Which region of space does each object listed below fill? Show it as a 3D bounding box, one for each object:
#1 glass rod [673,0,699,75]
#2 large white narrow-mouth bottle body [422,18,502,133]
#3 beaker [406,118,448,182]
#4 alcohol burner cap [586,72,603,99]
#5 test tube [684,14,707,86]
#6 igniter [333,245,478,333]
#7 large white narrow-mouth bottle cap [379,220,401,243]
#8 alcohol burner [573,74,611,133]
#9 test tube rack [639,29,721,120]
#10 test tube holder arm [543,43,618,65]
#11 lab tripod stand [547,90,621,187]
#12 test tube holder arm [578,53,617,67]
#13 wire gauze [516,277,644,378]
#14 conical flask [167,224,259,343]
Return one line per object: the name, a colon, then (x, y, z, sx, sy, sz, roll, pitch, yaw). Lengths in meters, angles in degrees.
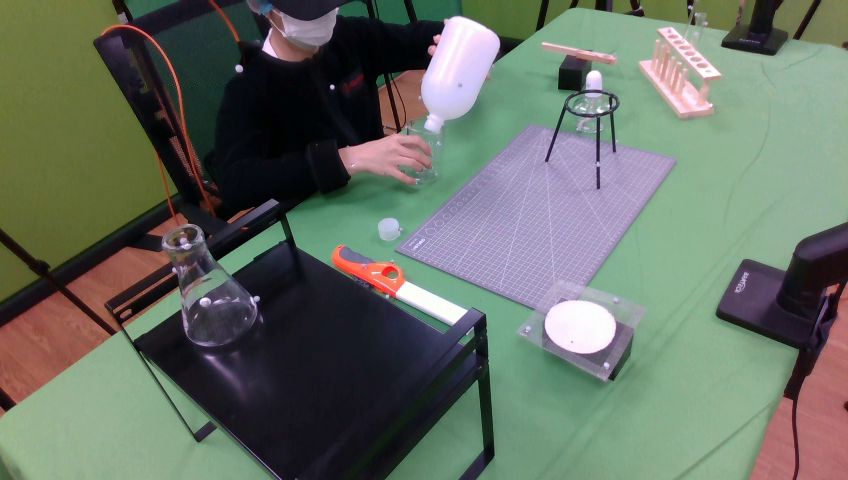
glass rod: (0.541, -0.427, 1.246, 0.008, 0.200, 0.008, 0, 48, 1)
large white narrow-mouth bottle body: (0.055, -0.283, 1.073, 0.102, 0.194, 0.101, 26, 9, -4)
beaker: (0.005, -0.165, 1.110, 0.073, 0.100, 0.084, 22, 35, 26)
alcohol burner cap: (0.325, -0.297, 1.154, 0.034, 0.048, 0.033, -8, 35, 6)
test tube: (0.541, -0.379, 1.216, 0.017, 0.151, 0.017, -2, 44, 2)
igniter: (-0.038, 0.068, 0.905, 0.274, 0.025, 0.057, 24, 60, 32)
large white narrow-mouth bottle cap: (-0.057, -0.015, 1.011, 0.038, 0.024, 0.037, -4, 40, 4)
alcohol burner: (0.330, -0.270, 1.176, 0.078, 0.119, 0.077, -4, 43, 4)
test tube rack: (0.527, -0.351, 1.262, 0.067, 0.085, 0.241, -8, 40, 1)
test tube holder arm: (0.345, -0.413, 1.340, 0.177, 0.015, 0.013, 25, 50, 31)
lab tripod stand: (0.289, -0.184, 1.062, 0.148, 0.132, 0.147, -6, 41, 6)
test tube holder arm: (0.376, -0.393, 1.314, 0.087, 0.015, 0.010, 26, 51, 32)
wire gauze: (0.197, 0.103, 0.765, 0.124, 0.011, 0.122, 23, 50, 31)
conical flask: (-0.220, 0.041, 0.613, 0.075, 0.122, 0.075, -5, 40, 4)
